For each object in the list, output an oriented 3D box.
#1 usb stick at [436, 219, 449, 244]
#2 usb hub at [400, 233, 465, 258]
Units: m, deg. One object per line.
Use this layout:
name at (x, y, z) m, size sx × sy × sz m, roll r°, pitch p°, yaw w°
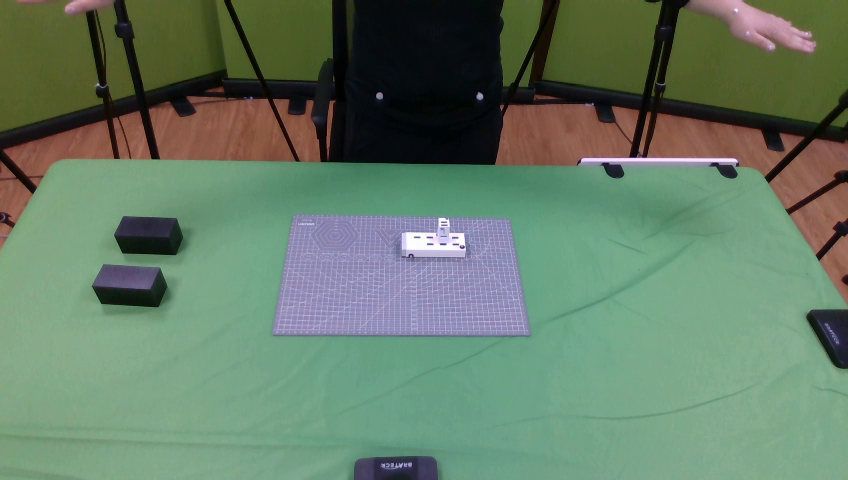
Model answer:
usb stick at (0.035, -0.012, 1.166) m, size 0.021 × 0.059 × 0.027 m, roll -2°, pitch 48°, yaw -6°
usb hub at (0.017, 0.011, 1.182) m, size 0.125 × 0.025 × 0.049 m, roll 1°, pitch 46°, yaw -3°
